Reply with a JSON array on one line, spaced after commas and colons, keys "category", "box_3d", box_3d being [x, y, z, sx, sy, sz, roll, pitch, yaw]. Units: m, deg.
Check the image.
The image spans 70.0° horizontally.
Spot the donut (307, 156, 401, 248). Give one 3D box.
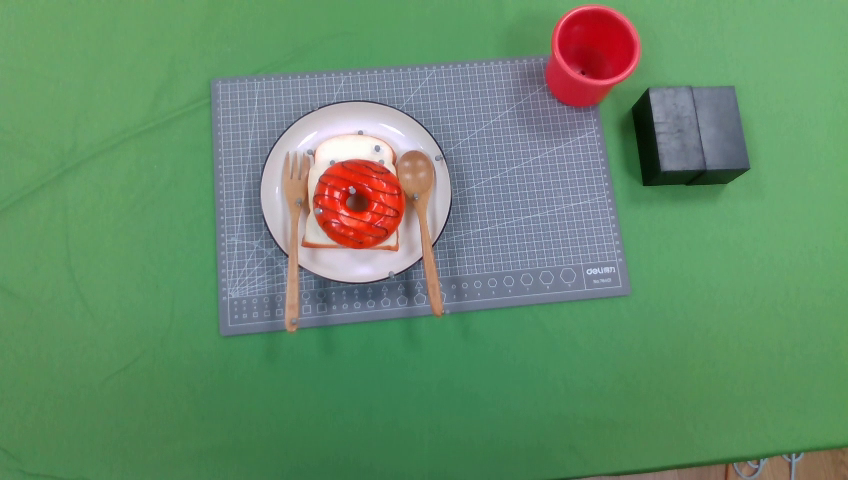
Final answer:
[{"category": "donut", "box_3d": [-0.073, -0.040, 0.636, 0.099, 0.048, 0.098, 1, 81, -6]}]

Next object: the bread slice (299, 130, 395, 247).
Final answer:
[{"category": "bread slice", "box_3d": [-0.084, -0.058, 0.669, 0.105, 0.019, 0.131, 1, 79, -4]}]

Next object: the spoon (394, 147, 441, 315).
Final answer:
[{"category": "spoon", "box_3d": [-0.003, -0.014, 0.647, 0.041, 0.022, 0.192, -8, 66, 0]}]

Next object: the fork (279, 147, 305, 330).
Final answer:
[{"category": "fork", "box_3d": [-0.142, -0.006, 0.641, 0.028, 0.019, 0.205, 4, 65, -17]}]

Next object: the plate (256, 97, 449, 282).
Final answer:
[{"category": "plate", "box_3d": [-0.077, -0.054, 0.666, 0.209, 0.038, 0.208, 1, 78, -3]}]
